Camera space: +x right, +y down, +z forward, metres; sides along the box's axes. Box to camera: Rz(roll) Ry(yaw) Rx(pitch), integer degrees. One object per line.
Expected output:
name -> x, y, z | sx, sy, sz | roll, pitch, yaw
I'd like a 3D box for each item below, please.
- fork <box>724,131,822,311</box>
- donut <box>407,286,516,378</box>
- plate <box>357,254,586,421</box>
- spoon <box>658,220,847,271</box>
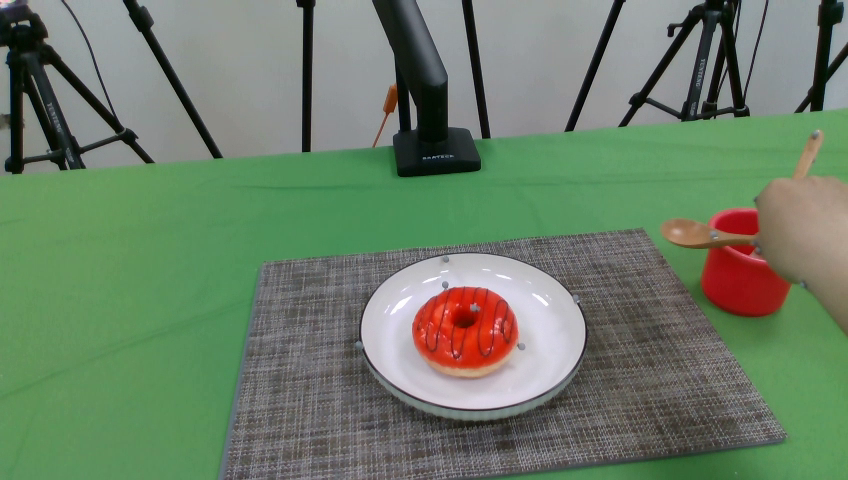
fork -> 0.358, -0.022, 0.616 | 0.028, 0.019, 0.207 | 25, 86, 31
donut -> 0.034, 0.083, 0.554 | 0.099, 0.049, 0.098 | -2, 39, 2
plate -> 0.043, 0.088, 0.565 | 0.209, 0.038, 0.207 | -1, 35, 1
spoon -> 0.279, 0.005, 0.509 | 0.041, 0.022, 0.192 | -26, 18, -21
